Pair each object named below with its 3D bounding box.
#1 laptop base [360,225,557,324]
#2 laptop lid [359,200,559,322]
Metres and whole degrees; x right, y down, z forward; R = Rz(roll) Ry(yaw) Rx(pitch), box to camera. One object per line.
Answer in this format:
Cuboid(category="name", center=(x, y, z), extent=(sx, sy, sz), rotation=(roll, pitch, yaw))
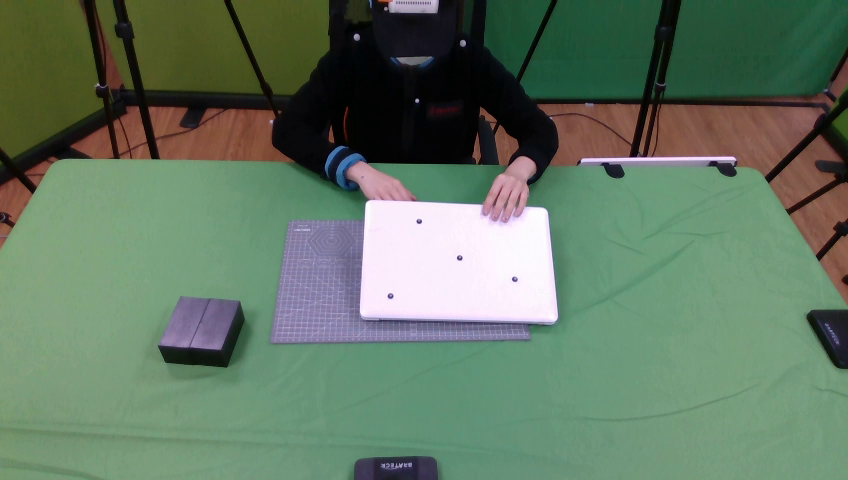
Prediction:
Cuboid(category="laptop base", center=(0.061, 0.063, 1.145), extent=(0.355, 0.023, 0.234), rotation=(2, 43, -4))
Cuboid(category="laptop lid", center=(0.064, 0.033, 1.104), extent=(0.357, 0.013, 0.240), rotation=(3, 63, -3))
